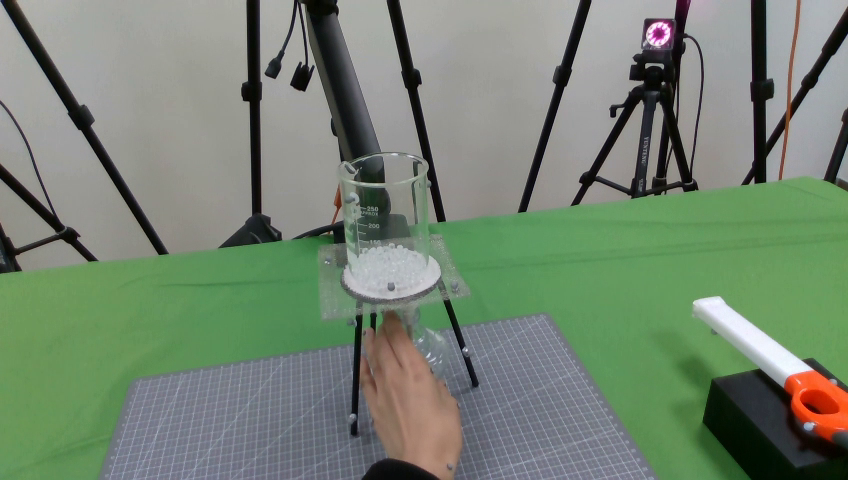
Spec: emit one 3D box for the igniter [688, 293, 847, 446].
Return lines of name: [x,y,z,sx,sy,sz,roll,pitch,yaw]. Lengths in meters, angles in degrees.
igniter: [0.308,0.117,0.488,0.057,0.025,0.274,-9,26,-10]

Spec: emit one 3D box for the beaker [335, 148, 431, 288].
beaker: [-0.034,-0.018,0.506,0.083,0.101,0.074,24,37,39]

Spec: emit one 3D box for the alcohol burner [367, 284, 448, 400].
alcohol burner: [-0.016,0.090,0.565,0.078,0.120,0.077,-1,30,1]

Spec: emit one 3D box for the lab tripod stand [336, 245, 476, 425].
lab tripod stand: [-0.025,0.080,0.564,0.148,0.132,0.147,-1,27,1]

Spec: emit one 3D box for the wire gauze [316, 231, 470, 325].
wire gauze: [-0.032,0.025,0.528,0.122,0.011,0.124,-8,31,-8]
